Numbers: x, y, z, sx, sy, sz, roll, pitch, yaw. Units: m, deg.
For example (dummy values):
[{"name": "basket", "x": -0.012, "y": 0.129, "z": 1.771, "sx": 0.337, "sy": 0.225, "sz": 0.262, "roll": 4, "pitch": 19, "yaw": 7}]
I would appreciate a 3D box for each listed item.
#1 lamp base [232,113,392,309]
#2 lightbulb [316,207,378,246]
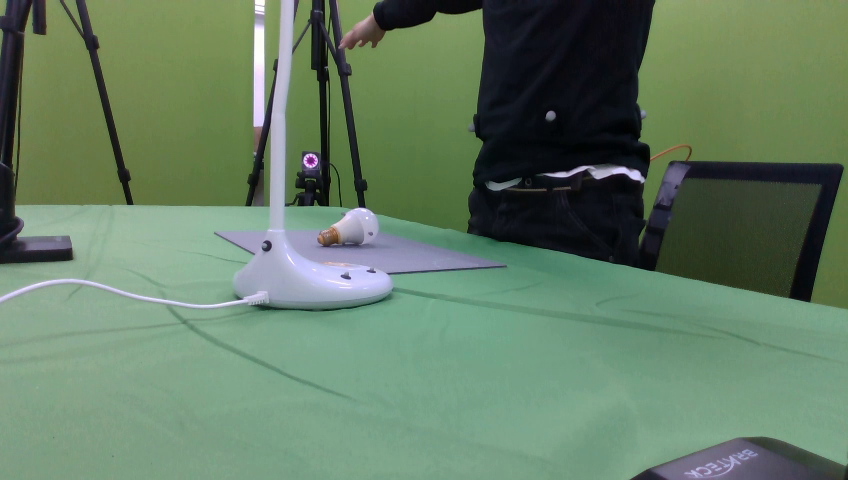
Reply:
[{"name": "lamp base", "x": -0.113, "y": -0.032, "z": 0.595, "sx": 0.160, "sy": 0.180, "sz": 0.179, "roll": 4, "pitch": 10, "yaw": 17}, {"name": "lightbulb", "x": -0.123, "y": -0.016, "z": 0.968, "sx": 0.108, "sy": 0.059, "sz": 0.059, "roll": -21, "pitch": 20, "yaw": -33}]
